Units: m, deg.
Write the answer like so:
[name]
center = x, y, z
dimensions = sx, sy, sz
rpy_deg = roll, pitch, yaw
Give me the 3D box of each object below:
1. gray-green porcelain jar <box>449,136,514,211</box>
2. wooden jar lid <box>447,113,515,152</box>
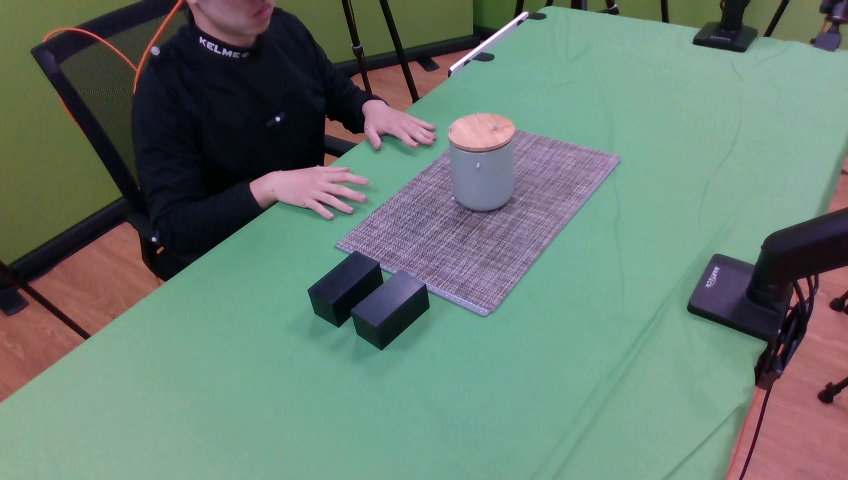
[gray-green porcelain jar]
center = 0.097, -0.120, 1.009
dimensions = 0.106, 0.127, 0.105
rpy_deg = -4, 41, 4
[wooden jar lid]
center = 0.091, -0.169, 0.967
dimensions = 0.108, 0.021, 0.108
rpy_deg = -5, 39, 4
